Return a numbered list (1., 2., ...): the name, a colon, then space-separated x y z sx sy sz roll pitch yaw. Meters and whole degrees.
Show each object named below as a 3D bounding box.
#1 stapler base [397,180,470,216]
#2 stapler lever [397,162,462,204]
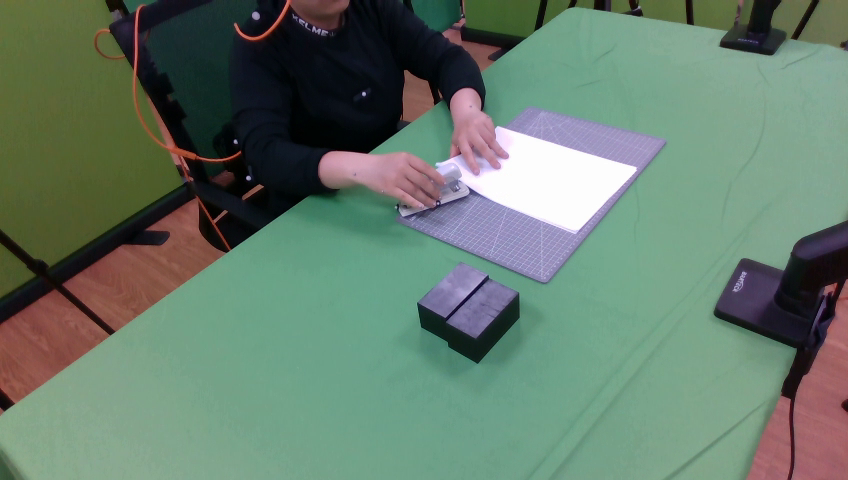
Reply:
1. stapler base: 0.016 -0.081 1.054 0.131 0.024 0.041 -21 34 -9
2. stapler lever: 0.010 -0.099 1.038 0.118 0.040 0.026 -21 34 -9
